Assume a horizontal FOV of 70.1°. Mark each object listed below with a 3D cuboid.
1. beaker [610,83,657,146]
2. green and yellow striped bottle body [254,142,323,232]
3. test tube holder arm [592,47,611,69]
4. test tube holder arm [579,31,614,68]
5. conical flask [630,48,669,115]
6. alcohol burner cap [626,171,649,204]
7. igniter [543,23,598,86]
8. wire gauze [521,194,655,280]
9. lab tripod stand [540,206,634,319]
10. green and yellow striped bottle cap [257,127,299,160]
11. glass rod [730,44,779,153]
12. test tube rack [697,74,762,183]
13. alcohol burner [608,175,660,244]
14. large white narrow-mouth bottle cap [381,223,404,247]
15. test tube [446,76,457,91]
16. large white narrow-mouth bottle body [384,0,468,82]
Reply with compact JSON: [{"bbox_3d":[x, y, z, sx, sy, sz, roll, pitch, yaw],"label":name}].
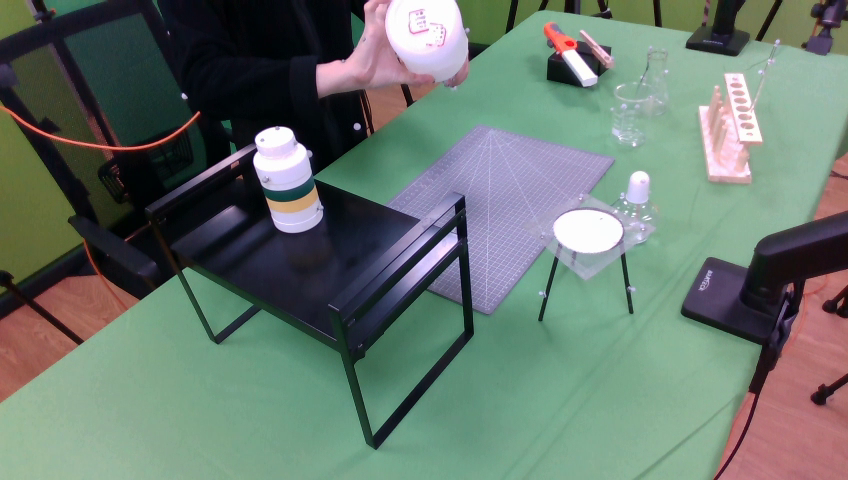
[{"bbox_3d":[0.388,-0.235,1.138,0.074,0.101,0.083,-31,45,-26],"label":"beaker"},{"bbox_3d":[-0.165,-0.073,0.732,0.063,0.120,0.063,-4,41,4],"label":"green and yellow striped bottle body"},{"bbox_3d":[0.386,-0.398,1.317,0.010,0.015,0.087,-10,41,-3],"label":"test tube holder arm"},{"bbox_3d":[0.384,-0.428,1.351,0.013,0.015,0.177,-11,41,-3],"label":"test tube holder arm"},{"bbox_3d":[0.456,-0.317,1.205,0.075,0.122,0.075,-4,41,4],"label":"conical flask"},{"bbox_3d":[0.320,-0.081,0.900,0.034,0.048,0.033,-4,42,4],"label":"alcohol burner cap"},{"bbox_3d":[0.320,-0.419,1.345,0.057,0.025,0.274,-12,44,-3],"label":"igniter"},{"bbox_3d":[0.207,-0.012,0.772,0.122,0.011,0.124,-28,44,-20],"label":"wire gauze"},{"bbox_3d":[0.218,0.034,0.821,0.148,0.132,0.147,-4,42,4],"label":"lab tripod stand"},{"bbox_3d":[-0.169,-0.112,0.698,0.045,0.020,0.045,-5,40,5],"label":"green and yellow striped bottle cap"},{"bbox_3d":[0.555,-0.234,1.021,0.008,0.200,0.008,2,40,-1],"label":"glass rod"},{"bbox_3d":[0.547,-0.208,1.095,0.066,0.085,0.242,5,42,15],"label":"test tube rack"},{"bbox_3d":[0.322,-0.053,0.924,0.078,0.119,0.077,-4,43,4],"label":"alcohol burner"},{"bbox_3d":[-0.052,-0.009,0.992,0.038,0.024,0.037,-5,39,4],"label":"large white narrow-mouth bottle cap"},{"bbox_3d":[0.042,-0.279,1.032,0.017,0.017,0.150,1,1,9],"label":"test tube"},{"bbox_3d":[0.011,-0.282,0.864,0.101,0.101,0.195,1,1,9],"label":"large white narrow-mouth bottle body"}]
